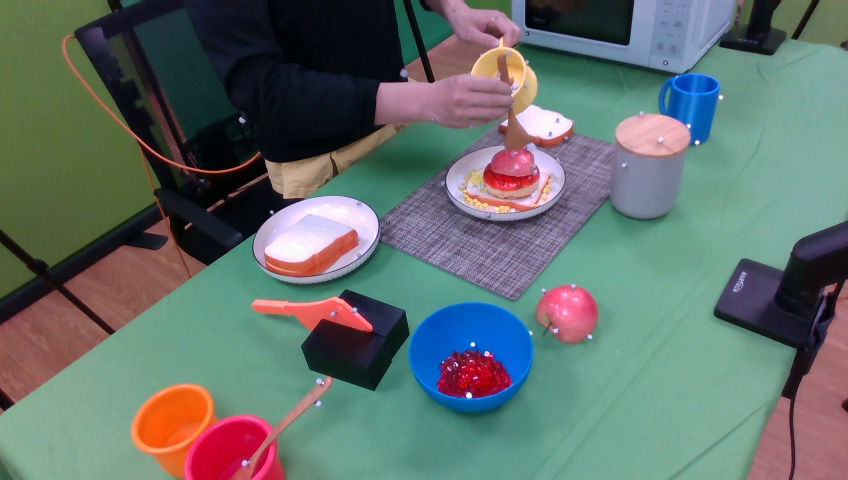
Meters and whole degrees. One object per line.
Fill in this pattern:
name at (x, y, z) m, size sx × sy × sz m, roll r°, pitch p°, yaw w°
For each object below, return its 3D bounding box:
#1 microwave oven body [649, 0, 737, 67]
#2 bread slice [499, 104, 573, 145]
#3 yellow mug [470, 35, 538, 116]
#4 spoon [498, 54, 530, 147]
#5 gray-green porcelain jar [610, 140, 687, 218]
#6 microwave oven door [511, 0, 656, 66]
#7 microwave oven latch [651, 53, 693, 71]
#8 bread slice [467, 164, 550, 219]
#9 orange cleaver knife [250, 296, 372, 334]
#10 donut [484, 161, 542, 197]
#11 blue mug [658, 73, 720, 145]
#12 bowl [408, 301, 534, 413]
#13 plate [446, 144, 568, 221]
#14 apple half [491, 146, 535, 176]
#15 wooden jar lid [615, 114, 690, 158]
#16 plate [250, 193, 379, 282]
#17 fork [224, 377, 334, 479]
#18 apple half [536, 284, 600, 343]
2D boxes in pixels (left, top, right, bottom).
microwave oven body at (0.475, -0.602, 1.411) m, size 0.438 × 0.261 × 0.327 m, roll 23°, pitch 50°, yaw 32°
bread slice at (0.231, -0.231, 1.205) m, size 0.105 × 0.019 × 0.130 m, roll -37°, pitch 47°, yaw -28°
yellow mug at (0.136, -0.286, 1.030) m, size 0.099 × 0.064 × 0.130 m, roll -1°, pitch 80°, yaw 27°
spoon at (0.126, -0.197, 0.884) m, size 0.041 × 0.195 × 0.021 m, roll -13°, pitch 53°, yaw 10°
gray-green porcelain jar at (0.354, -0.106, 0.964) m, size 0.106 × 0.127 × 0.105 m, roll -4°, pitch 41°, yaw 4°
microwave oven door at (0.350, -0.539, 1.349) m, size 0.353 × 0.245 × 0.039 m, roll 24°, pitch 50°, yaw 31°
microwave oven latch at (0.532, -0.386, 1.301) m, size 0.078 × 0.029 × 0.030 m, roll 27°, pitch 52°, yaw 34°
bread slice at (0.143, -0.088, 1.050) m, size 0.134 × 0.018 × 0.107 m, roll 14°, pitch 48°, yaw 14°
orange cleaver knife at (-0.159, 0.103, 0.828) m, size 0.210 × 0.078 × 0.012 m, roll -4°, pitch 43°, yaw 39°
donut at (0.149, -0.109, 1.016) m, size 0.099 × 0.048 × 0.098 m, roll -4°, pitch 40°, yaw 4°
blue mug at (0.483, -0.250, 1.127) m, size 0.082 × 0.106 × 0.115 m, roll -26°, pitch 44°, yaw -19°
bowl at (0.059, 0.156, 0.739) m, size 0.151 × 0.077 × 0.150 m, roll -4°, pitch 40°, yaw 4°
plate at (0.142, -0.097, 1.045) m, size 0.207 × 0.039 × 0.206 m, roll -4°, pitch 40°, yaw 4°
apple half at (0.147, -0.138, 0.994) m, size 0.081 × 0.033 × 0.081 m, roll 1°, pitch 38°, yaw 0°
wooden jar lid at (0.347, -0.155, 0.923) m, size 0.108 × 0.021 × 0.108 m, roll -3°, pitch 44°, yaw 4°
plate at (-0.174, -0.001, 0.984) m, size 0.209 × 0.038 × 0.208 m, roll -4°, pitch 40°, yaw 3°
fork at (-0.163, 0.216, 0.646) m, size 0.207 × 0.019 × 0.028 m, roll -49°, pitch 43°, yaw 16°
apple half at (0.196, 0.091, 0.815) m, size 0.075 × 0.053 × 0.080 m, roll -22°, pitch 42°, yaw -20°
